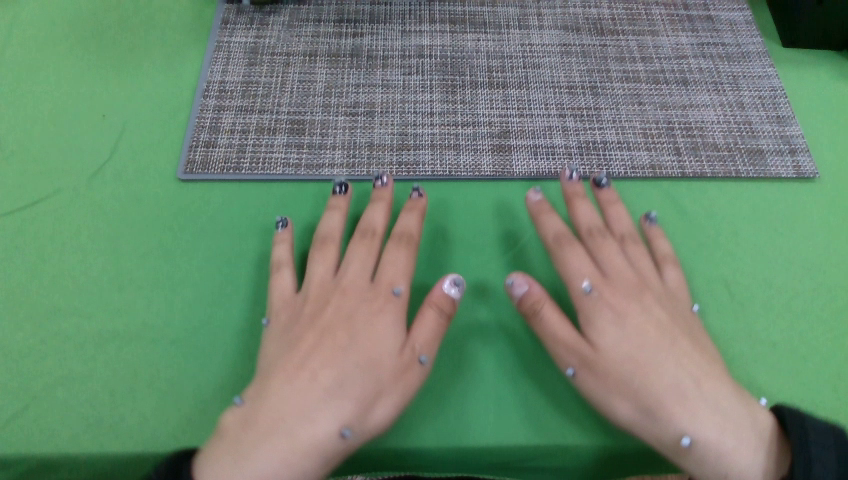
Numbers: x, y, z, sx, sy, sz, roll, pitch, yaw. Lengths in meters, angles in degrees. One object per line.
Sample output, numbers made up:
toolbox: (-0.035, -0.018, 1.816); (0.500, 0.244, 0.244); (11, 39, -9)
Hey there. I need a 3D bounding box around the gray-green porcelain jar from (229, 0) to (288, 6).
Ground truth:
gray-green porcelain jar: (-0.139, -0.263, 0.480); (0.106, 0.127, 0.105); (1, 58, -1)
